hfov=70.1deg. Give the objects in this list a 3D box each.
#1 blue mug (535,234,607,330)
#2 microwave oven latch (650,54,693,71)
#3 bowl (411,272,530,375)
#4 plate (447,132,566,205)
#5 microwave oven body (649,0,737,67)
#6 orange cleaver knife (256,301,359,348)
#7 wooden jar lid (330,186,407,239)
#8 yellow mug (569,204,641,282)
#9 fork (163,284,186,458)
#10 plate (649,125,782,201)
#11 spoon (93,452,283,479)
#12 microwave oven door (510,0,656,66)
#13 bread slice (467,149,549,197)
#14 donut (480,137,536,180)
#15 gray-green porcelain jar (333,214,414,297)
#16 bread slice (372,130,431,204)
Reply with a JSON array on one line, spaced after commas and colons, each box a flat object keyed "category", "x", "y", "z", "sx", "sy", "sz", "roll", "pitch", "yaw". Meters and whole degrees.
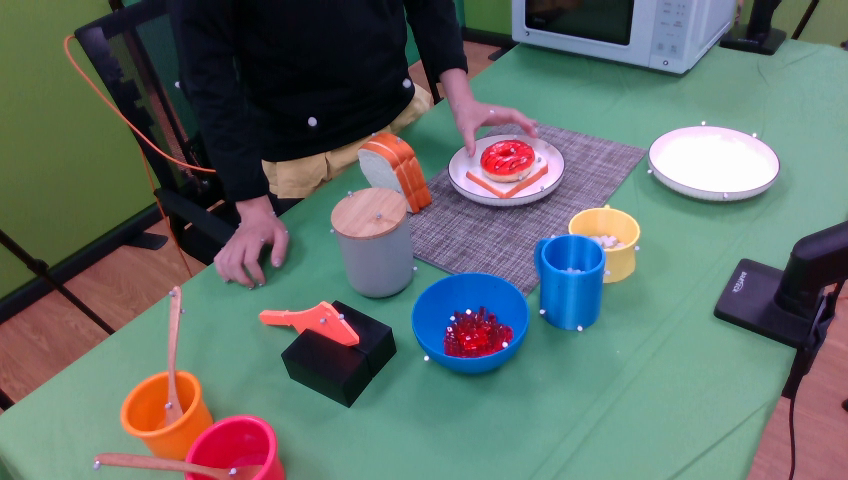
[{"category": "blue mug", "x": 0.191, "y": 0.048, "z": 0.824, "sx": 0.082, "sy": 0.106, "sz": 0.115, "roll": -26, "pitch": 44, "yaw": -20}, {"category": "microwave oven latch", "x": 0.531, "y": -0.386, "z": 1.301, "sx": 0.078, "sy": 0.029, "sz": 0.030, "roll": 26, "pitch": 51, "yaw": 33}, {"category": "bowl", "x": 0.061, "y": 0.120, "z": 0.780, "sx": 0.151, "sy": 0.077, "sz": 0.150, "roll": -4, "pitch": 40, "yaw": 4}, {"category": "plate", "x": 0.146, "y": -0.124, "z": 1.076, "sx": 0.209, "sy": 0.038, "sz": 0.208, "roll": -4, "pitch": 41, "yaw": 4}, {"category": "microwave oven body", "x": 0.475, "y": -0.602, "z": 1.411, "sx": 0.438, "sy": 0.261, "sz": 0.327, "roll": 23, "pitch": 50, "yaw": 32}, {"category": "orange cleaver knife", "x": -0.160, "y": 0.115, "z": 0.813, "sx": 0.210, "sy": 0.077, "sz": 0.012, "roll": -9, "pitch": 29, "yaw": 48}, {"category": "wooden jar lid", "x": -0.077, "y": -0.035, "z": 0.846, "sx": 0.108, "sy": 0.021, "sz": 0.108, "roll": -5, "pitch": 41, "yaw": 5}, {"category": "yellow mug", "x": 0.268, "y": -0.005, "z": 0.904, "sx": 0.099, "sy": 0.064, "sz": 0.130, "roll": 7, "pitch": 41, "yaw": 15}, {"category": "fork", "x": -0.302, "y": 0.157, "z": 0.733, "sx": 0.028, "sy": 0.019, "sz": 0.207, "roll": -3, "pitch": 84, "yaw": 15}, {"category": "plate", "x": 0.493, "y": -0.127, "z": 1.036, "sx": 0.207, "sy": 0.039, "sz": 0.206, "roll": -4, "pitch": 41, "yaw": 4}, {"category": "spoon", "x": -0.240, "y": 0.239, "z": 0.632, "sx": 0.195, "sy": 0.021, "sz": 0.041, "roll": 26, "pitch": 34, "yaw": -32}, {"category": "microwave oven door", "x": 0.350, "y": -0.539, "z": 1.348, "sx": 0.353, "sy": 0.245, "sz": 0.039, "roll": 24, "pitch": 50, "yaw": 31}, {"category": "bread slice", "x": 0.156, "y": -0.128, "z": 1.085, "sx": 0.132, "sy": 0.019, "sz": 0.104, "roll": -35, "pitch": 49, "yaw": -23}, {"category": "donut", "x": 0.146, "y": -0.143, "z": 1.056, "sx": 0.099, "sy": 0.048, "sz": 0.098, "roll": -7, "pitch": 42, "yaw": 7}, {"category": "gray-green porcelain jar", "x": -0.071, "y": 0.012, "z": 0.887, "sx": 0.106, "sy": 0.127, "sz": 0.105, "roll": -4, "pitch": 41, "yaw": 4}, {"category": "bread slice", "x": -0.042, "y": -0.127, "z": 1.038, "sx": 0.106, "sy": 0.135, "sz": 0.018, "roll": 30, "pitch": 61, "yaw": 34}]
